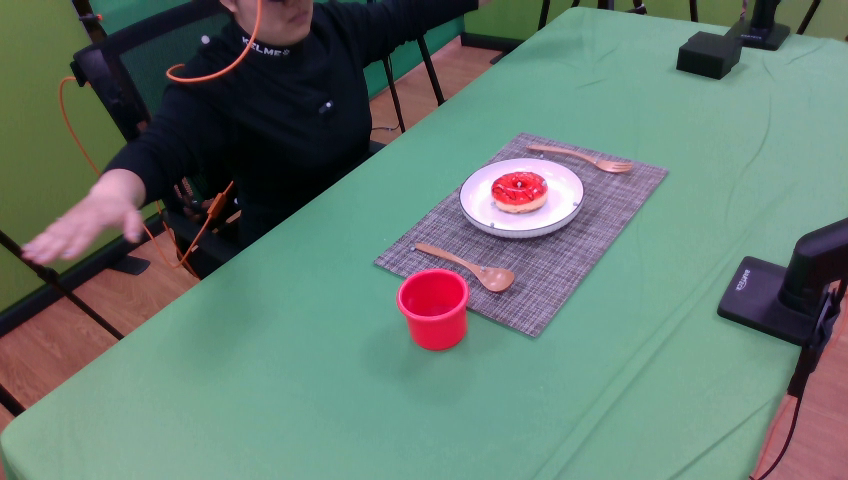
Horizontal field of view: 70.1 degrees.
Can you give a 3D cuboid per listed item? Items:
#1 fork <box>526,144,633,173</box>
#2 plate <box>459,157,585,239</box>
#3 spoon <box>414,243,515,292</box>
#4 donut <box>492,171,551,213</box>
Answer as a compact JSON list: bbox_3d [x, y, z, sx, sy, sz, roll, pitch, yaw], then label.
[{"bbox_3d":[0.279,-0.153,1.108,0.206,0.019,0.028,21,56,29],"label":"fork"},{"bbox_3d":[0.163,-0.068,1.015,0.209,0.038,0.208,-5,40,5],"label":"plate"},{"bbox_3d":[0.057,0.035,0.924,0.192,0.022,0.041,24,68,34],"label":"spoon"},{"bbox_3d":[0.163,-0.083,1.015,0.099,0.048,0.098,-6,37,5],"label":"donut"}]
